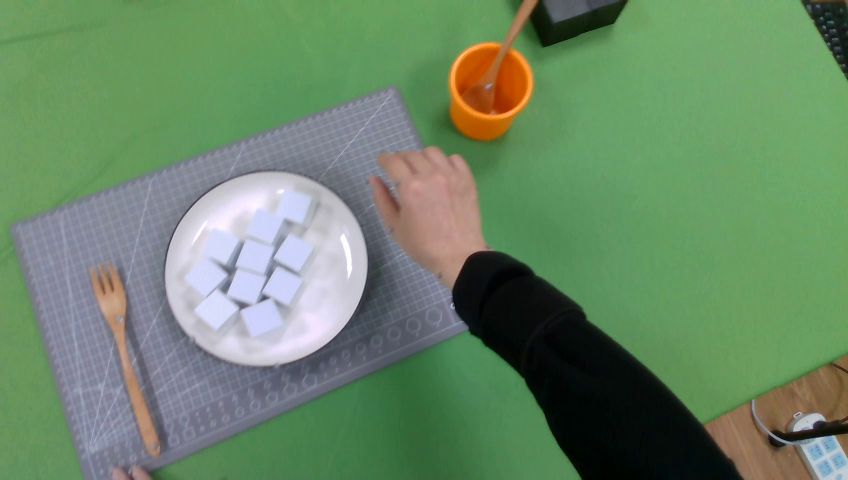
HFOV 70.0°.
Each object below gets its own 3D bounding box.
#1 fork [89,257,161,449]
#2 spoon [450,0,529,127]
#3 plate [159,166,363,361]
[{"bbox_3d":[-0.306,0.114,0.622,0.028,0.019,0.206,-20,77,-12],"label":"fork"},{"bbox_3d":[0.082,-0.210,0.660,0.041,0.194,0.021,35,34,10],"label":"spoon"},{"bbox_3d":[-0.169,0.025,0.643,0.208,0.039,0.206,1,77,-4],"label":"plate"}]
